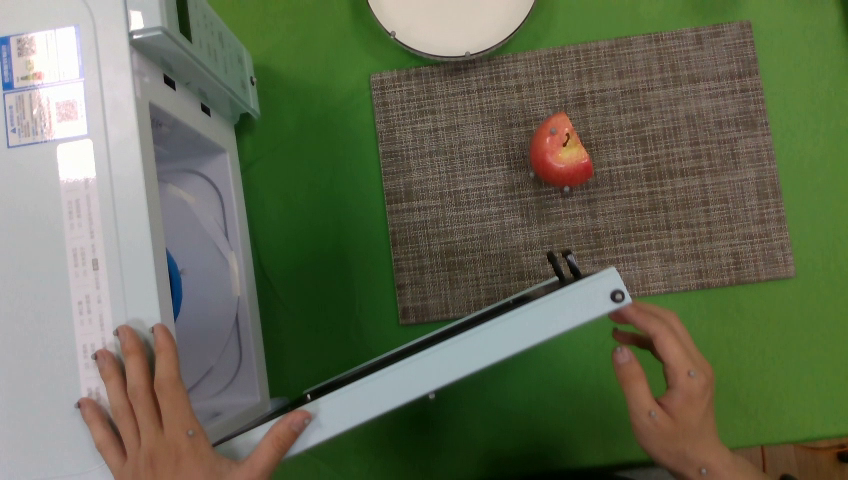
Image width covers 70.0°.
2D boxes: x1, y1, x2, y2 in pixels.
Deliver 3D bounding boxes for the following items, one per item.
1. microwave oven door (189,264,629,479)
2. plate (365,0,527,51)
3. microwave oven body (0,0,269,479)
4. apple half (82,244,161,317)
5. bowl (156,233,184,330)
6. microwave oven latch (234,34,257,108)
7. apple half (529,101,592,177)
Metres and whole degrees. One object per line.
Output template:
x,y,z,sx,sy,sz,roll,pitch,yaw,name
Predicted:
-0.006,0.108,0.563,0.356,0.244,0.039,-25,84,1,microwave oven door
0.026,-0.318,0.709,0.207,0.039,0.207,0,86,3,plate
-0.337,-0.004,0.591,0.326,0.260,0.440,-9,86,2,microwave oven body
-0.311,0.043,0.617,0.081,0.032,0.081,-1,95,-9,apple half
-0.309,0.044,0.628,0.151,0.077,0.151,1,97,7,bowl
-0.212,-0.194,0.694,0.030,0.029,0.079,-9,87,2,microwave oven latch
0.144,-0.104,0.668,0.053,0.075,0.081,-28,89,6,apple half
